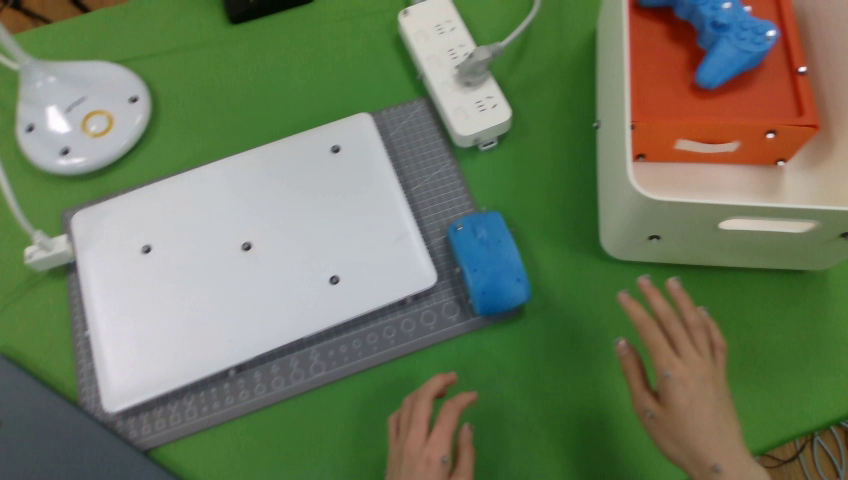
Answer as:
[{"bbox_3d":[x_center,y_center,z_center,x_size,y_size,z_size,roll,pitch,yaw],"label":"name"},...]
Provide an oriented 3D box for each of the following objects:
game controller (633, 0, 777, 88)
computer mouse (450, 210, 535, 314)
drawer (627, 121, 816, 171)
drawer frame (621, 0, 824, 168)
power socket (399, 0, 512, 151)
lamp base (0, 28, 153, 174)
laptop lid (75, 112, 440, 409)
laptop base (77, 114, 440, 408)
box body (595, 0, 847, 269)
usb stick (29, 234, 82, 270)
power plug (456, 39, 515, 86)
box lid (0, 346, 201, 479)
[{"bbox_3d":[0.306,-0.241,0.655,0.097,0.052,0.154,-19,66,-9],"label":"game controller"},{"bbox_3d":[0.070,0.019,0.634,0.063,0.041,0.116,-16,62,-3],"label":"computer mouse"},{"bbox_3d":[0.310,-0.180,0.701,0.194,0.074,0.210,1,55,5],"label":"drawer"},{"bbox_3d":[0.307,-0.192,0.686,0.201,0.083,0.211,3,60,2],"label":"drawer frame"},{"bbox_3d":[0.035,-0.207,0.743,0.072,0.033,0.224,-21,66,-8],"label":"power socket"},{"bbox_3d":[-0.430,-0.188,0.678,0.178,0.182,0.160,27,69,17],"label":"lamp base"},{"bbox_3d":[-0.185,0.008,0.652,0.357,0.013,0.239,-19,69,-6],"label":"laptop lid"},{"bbox_3d":[-0.185,0.011,0.664,0.354,0.023,0.233,-21,70,-6],"label":"laptop base"},{"bbox_3d":[0.317,-0.158,0.634,0.254,0.161,0.361,3,66,4],"label":"box body"},{"bbox_3d":[-0.394,0.011,0.661,0.059,0.027,0.021,-16,60,-8],"label":"usb stick"},{"bbox_3d":[0.074,-0.201,0.713,0.072,0.053,0.035,-11,64,-3],"label":"power plug"},{"bbox_3d":[-0.367,0.284,0.556,0.370,0.015,0.262,27,70,14],"label":"box lid"}]
